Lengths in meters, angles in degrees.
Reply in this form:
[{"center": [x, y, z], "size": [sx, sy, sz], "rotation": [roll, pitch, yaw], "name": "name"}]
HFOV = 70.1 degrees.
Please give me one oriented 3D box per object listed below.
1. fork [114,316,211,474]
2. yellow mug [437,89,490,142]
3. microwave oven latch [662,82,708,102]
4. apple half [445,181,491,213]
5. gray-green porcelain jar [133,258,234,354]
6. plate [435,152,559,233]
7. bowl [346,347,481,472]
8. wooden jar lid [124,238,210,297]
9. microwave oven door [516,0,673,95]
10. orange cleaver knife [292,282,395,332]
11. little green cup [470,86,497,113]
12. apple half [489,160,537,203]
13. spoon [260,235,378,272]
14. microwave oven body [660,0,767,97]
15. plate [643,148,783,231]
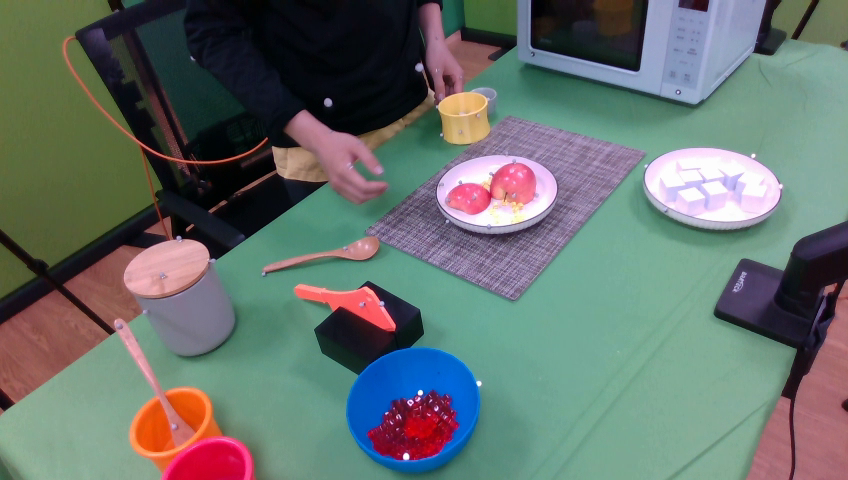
[{"center": [-0.308, 0.179, 0.708], "size": [0.028, 0.018, 0.207], "rotation": [-30, 89, -23], "name": "fork"}, {"center": [0.070, -0.257, 1.224], "size": [0.100, 0.064, 0.129], "rotation": [-33, 43, -25], "name": "yellow mug"}, {"center": [0.517, -0.298, 1.202], "size": [0.078, 0.029, 0.030], "rotation": [27, 52, 34], "name": "microwave oven latch"}, {"center": [0.076, -0.083, 1.029], "size": [0.081, 0.033, 0.081], "rotation": [-2, 41, 2], "name": "apple half"}, {"center": [-0.328, 0.087, 0.836], "size": [0.106, 0.127, 0.105], "rotation": [-4, 41, 4], "name": "gray-green porcelain jar"}, {"center": [0.124, -0.078, 1.026], "size": [0.209, 0.038, 0.208], "rotation": [-4, 40, 4], "name": "plate"}, {"center": [-0.008, 0.205, 0.691], "size": [0.151, 0.077, 0.150], "rotation": [-4, 40, 4], "name": "bowl"}, {"center": [-0.335, 0.038, 0.794], "size": [0.108, 0.021, 0.108], "rotation": [-2, 40, 2], "name": "wooden jar lid"}, {"center": [0.344, -0.458, 1.256], "size": [0.353, 0.245, 0.039], "rotation": [26, 51, 33], "name": "microwave oven door"}, {"center": [-0.116, 0.091, 0.835], "size": [0.209, 0.077, 0.012], "rotation": [2, 32, 48], "name": "orange cleaver knife"}, {"center": [0.124, -0.298, 1.284], "size": [0.061, 0.039, 0.061], "rotation": [-4, 39, 4], "name": "little green cup"}, {"center": [0.154, -0.106, 1.030], "size": [0.080, 0.053, 0.075], "rotation": [22, 46, 31], "name": "apple half"}, {"center": [-0.167, 0.024, 0.966], "size": [0.194, 0.022, 0.041], "rotation": [-10, 57, -3], "name": "spoon"}, {"center": [0.473, -0.516, 1.313], "size": [0.438, 0.261, 0.327], "rotation": [26, 51, 34], "name": "microwave oven body"}, {"center": [0.464, -0.080, 0.986], "size": [0.207, 0.039, 0.206], "rotation": [-4, 41, 4], "name": "plate"}]
